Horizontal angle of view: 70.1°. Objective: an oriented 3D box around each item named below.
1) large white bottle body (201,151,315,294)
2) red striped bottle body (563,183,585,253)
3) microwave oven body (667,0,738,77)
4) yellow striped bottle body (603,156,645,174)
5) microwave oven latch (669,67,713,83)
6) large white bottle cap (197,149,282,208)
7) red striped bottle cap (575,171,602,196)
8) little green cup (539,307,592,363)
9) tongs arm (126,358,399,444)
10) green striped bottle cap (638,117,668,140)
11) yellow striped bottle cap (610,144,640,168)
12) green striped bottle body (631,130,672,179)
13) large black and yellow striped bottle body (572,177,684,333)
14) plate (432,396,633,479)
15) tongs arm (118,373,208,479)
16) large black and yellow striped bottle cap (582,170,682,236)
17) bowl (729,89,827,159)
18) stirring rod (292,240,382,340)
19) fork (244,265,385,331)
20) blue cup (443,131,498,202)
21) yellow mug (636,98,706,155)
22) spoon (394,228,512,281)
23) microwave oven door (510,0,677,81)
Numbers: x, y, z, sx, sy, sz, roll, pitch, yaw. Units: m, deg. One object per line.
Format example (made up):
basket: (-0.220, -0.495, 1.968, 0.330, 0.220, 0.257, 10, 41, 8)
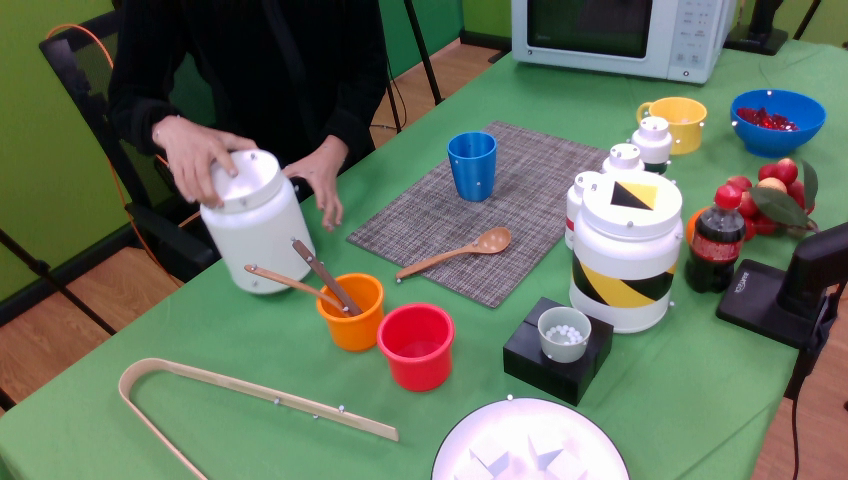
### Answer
large white bottle body: (-0.245, -0.025, 0.890, 0.130, 0.185, 0.130, -5, 43, 5)
red striped bottle body: (0.246, -0.041, 0.910, 0.063, 0.120, 0.062, -2, 38, 2)
microwave oven body: (0.462, -0.552, 1.368, 0.439, 0.261, 0.326, 14, 45, 26)
yellow striped bottle body: (0.313, -0.089, 0.956, 0.063, 0.121, 0.062, -4, 40, 4)
microwave oven latch: (0.556, -0.349, 1.261, 0.078, 0.029, 0.030, 16, 46, 27)
large white bottle cap: (-0.254, -0.087, 0.834, 0.115, 0.018, 0.114, -4, 43, 5)
red striped bottle cap: (0.242, -0.081, 0.876, 0.044, 0.018, 0.044, -5, 43, 5)
little green cup: (0.168, 0.115, 0.721, 0.061, 0.039, 0.061, -4, 42, 4)
tongs arm: (-0.213, 0.205, 0.754, 0.382, 0.026, 0.051, 12, 46, 22)
green striped bottle cap: (0.369, -0.180, 0.974, 0.044, 0.020, 0.044, -4, 41, 4)
yellow striped bottle cap: (0.307, -0.128, 0.923, 0.044, 0.019, 0.044, -5, 39, 5)
green striped bottle body: (0.375, -0.140, 1.007, 0.063, 0.120, 0.063, -5, 40, 5)
large black and yellow striped bottle body: (0.262, 0.017, 0.788, 0.131, 0.185, 0.130, -5, 40, 4)
plate: (0.112, 0.261, 0.634, 0.209, 0.038, 0.208, -5, 40, 4)
tongs arm: (-0.258, 0.258, 0.700, 0.384, 0.028, 0.028, 25, 56, 33)
large black and yellow striped bottle cap: (0.252, -0.048, 0.735, 0.115, 0.019, 0.114, -3, 40, 3)
bowl: (0.615, -0.197, 1.069, 0.151, 0.077, 0.150, -5, 40, 5)
stirring rod: (-0.118, 0.068, 0.825, 0.176, 0.006, 0.014, 49, 59, -3)
fork: (-0.142, 0.078, 0.806, 0.209, 0.018, 0.028, 30, 31, -23)
blue cup: (0.086, -0.122, 1.040, 0.092, 0.100, 0.092, -5, 42, 5)
yellow mug: (0.453, -0.217, 1.128, 0.100, 0.064, 0.129, -34, 46, -27)
spoon: (0.045, 0.024, 0.935, 0.194, 0.022, 0.041, -18, 66, -11)
microwave oven door: (0.353, -0.478, 1.290, 0.353, 0.245, 0.039, 15, 45, 25)
